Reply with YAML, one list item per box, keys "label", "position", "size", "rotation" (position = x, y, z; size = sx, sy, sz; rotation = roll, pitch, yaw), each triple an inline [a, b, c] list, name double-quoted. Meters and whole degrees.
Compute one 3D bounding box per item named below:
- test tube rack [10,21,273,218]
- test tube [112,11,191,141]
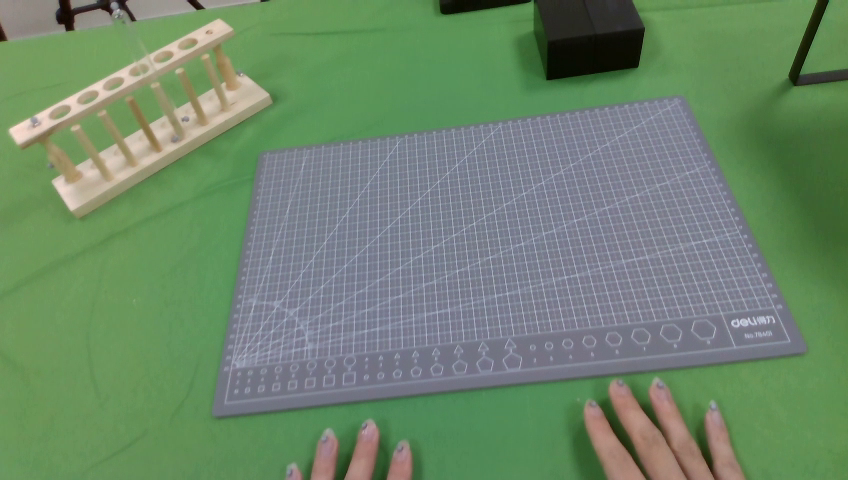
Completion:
- label: "test tube rack"
  position: [-0.293, -0.134, 0.655]
  size: [0.242, 0.086, 0.066]
  rotation: [-37, 55, -19]
- label: "test tube"
  position: [-0.274, -0.162, 0.615]
  size: [0.017, 0.152, 0.017]
  rotation: [-4, 50, 5]
